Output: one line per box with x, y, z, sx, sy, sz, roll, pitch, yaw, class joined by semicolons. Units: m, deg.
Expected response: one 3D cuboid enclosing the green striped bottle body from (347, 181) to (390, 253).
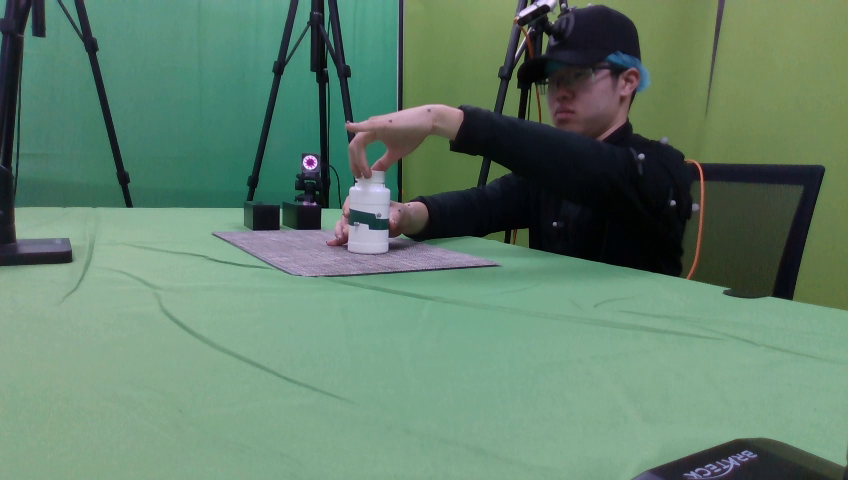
-0.083;-0.042;0.913;0.063;0.119;0.063;3;8;0;green striped bottle body

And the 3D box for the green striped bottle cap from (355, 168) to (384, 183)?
-0.081;-0.097;0.907;0.044;0.020;0.044;6;10;-1;green striped bottle cap
